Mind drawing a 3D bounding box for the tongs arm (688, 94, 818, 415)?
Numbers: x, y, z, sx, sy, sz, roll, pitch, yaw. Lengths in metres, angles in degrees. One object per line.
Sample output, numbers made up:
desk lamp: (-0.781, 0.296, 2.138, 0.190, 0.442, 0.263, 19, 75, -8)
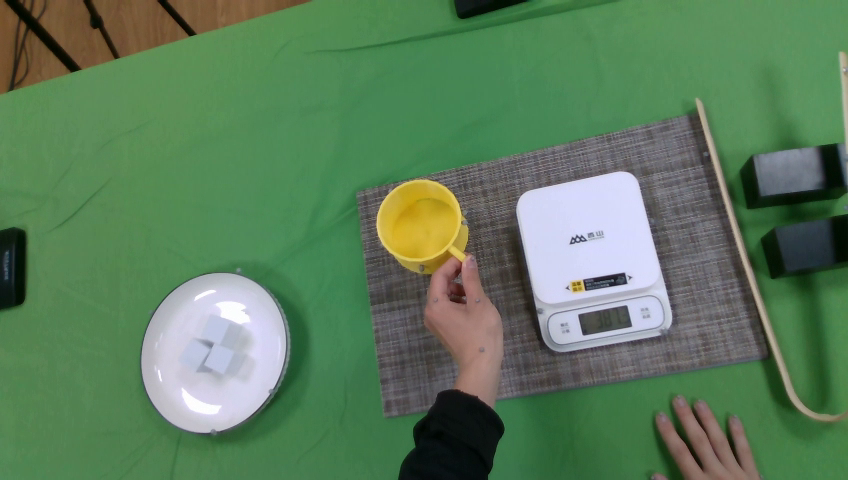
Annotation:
tongs arm: (0.366, 0.004, 0.692, 0.028, 0.028, 0.385, -21, 72, 32)

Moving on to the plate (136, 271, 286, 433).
plate: (-0.276, 0.146, 0.798, 0.207, 0.039, 0.206, -3, 77, 11)

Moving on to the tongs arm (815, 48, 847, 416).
tongs arm: (0.427, -0.010, 0.640, 0.050, 0.027, 0.383, -6, 81, 38)

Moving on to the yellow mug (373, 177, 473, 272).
yellow mug: (0.007, -0.008, 0.714, 0.130, 0.064, 0.100, 39, 86, 17)

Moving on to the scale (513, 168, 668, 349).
scale: (0.195, 0.020, 0.723, 0.148, 0.032, 0.199, -12, 75, 10)
